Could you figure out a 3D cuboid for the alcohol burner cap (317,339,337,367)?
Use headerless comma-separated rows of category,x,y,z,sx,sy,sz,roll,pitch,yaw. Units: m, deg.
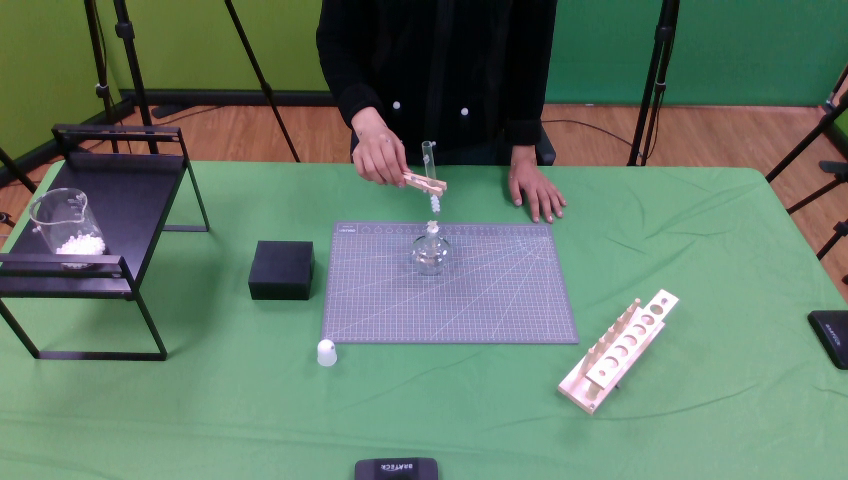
alcohol burner cap,-0.161,0.182,0.995,0.034,0.048,0.033,2,47,-2

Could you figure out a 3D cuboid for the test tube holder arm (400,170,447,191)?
test tube holder arm,-0.003,-0.101,1.018,0.087,0.015,0.010,16,50,21

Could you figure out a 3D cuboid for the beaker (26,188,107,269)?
beaker,-0.504,-0.013,0.868,0.084,0.101,0.074,23,49,17

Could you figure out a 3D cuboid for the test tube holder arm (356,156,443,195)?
test tube holder arm,-0.045,-0.111,1.033,0.178,0.015,0.013,22,52,25

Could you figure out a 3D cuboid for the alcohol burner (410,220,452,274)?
alcohol burner,0.013,0.007,1.120,0.078,0.120,0.077,1,48,0

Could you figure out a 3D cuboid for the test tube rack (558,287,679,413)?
test tube rack,0.326,0.170,1.009,0.066,0.085,0.242,36,54,27

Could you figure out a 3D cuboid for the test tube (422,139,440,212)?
test tube,0.012,-0.102,0.996,0.017,0.151,0.017,-5,47,5
